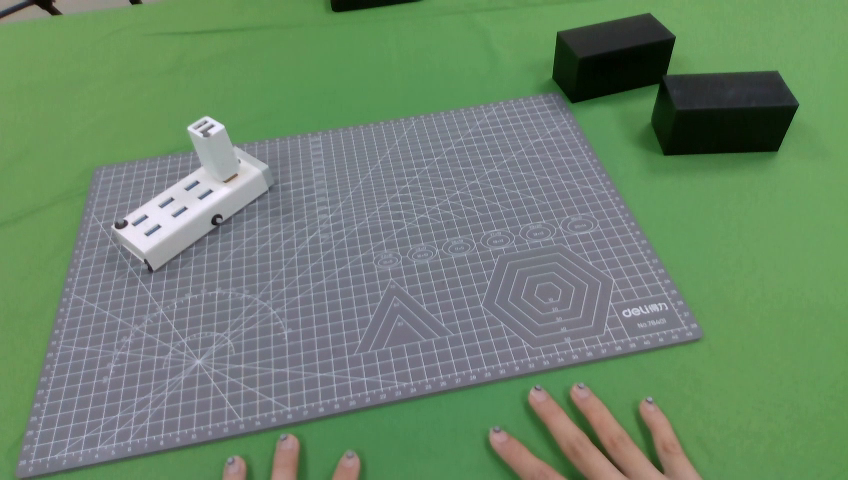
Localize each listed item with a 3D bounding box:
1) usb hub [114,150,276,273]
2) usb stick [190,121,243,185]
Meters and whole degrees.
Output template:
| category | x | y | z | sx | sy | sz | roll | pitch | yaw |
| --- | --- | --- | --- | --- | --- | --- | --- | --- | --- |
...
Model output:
| category | x | y | z | sx | sy | sz | roll | pitch | yaw |
| --- | --- | --- | --- | --- | --- | --- | --- | --- | --- |
| usb hub | -0.189 | -0.028 | 0.507 | 0.049 | 0.025 | 0.125 | 30 | 56 | 28 |
| usb stick | -0.168 | -0.066 | 0.498 | 0.027 | 0.060 | 0.021 | 26 | 55 | 29 |
